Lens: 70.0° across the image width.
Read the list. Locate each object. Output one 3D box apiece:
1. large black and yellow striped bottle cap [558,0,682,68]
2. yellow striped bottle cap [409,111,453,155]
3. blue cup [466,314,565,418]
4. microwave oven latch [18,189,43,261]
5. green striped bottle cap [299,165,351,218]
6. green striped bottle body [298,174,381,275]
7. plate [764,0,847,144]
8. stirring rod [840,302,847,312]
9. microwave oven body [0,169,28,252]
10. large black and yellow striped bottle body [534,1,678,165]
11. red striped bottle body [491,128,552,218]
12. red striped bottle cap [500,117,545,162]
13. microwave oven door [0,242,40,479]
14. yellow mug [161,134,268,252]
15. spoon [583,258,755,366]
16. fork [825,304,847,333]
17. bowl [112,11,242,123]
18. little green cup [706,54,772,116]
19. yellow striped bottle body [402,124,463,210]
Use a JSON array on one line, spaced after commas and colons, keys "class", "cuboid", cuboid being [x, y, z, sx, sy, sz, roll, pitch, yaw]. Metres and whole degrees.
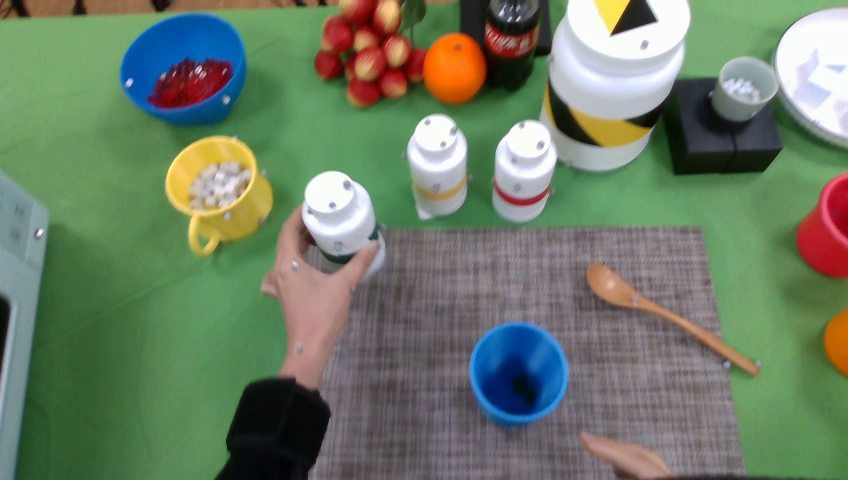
[{"class": "large black and yellow striped bottle cap", "cuboid": [0.187, -0.215, 0.580, 0.115, 0.019, 0.114, -2, 64, 4]}, {"class": "yellow striped bottle cap", "cuboid": [0.007, -0.109, 0.614, 0.044, 0.019, 0.044, -1, 67, 3]}, {"class": "blue cup", "cuboid": [0.080, 0.126, 0.566, 0.092, 0.101, 0.092, -1, 65, 2]}, {"class": "microwave oven latch", "cuboid": [-0.451, -0.016, 0.680, 0.030, 0.030, 0.078, -8, 66, 0]}, {"class": "green striped bottle cap", "cuboid": [-0.086, -0.043, 0.526, 0.044, 0.020, 0.044, -1, 64, 3]}, {"class": "green striped bottle body", "cuboid": [-0.079, -0.018, 0.572, 0.063, 0.120, 0.062, -2, 62, 4]}, {"class": "plate", "cuboid": [0.512, -0.197, 0.726, 0.209, 0.038, 0.207, -1, 66, 3]}, {"class": "stirring rod", "cuboid": [0.430, 0.098, 0.543, 0.014, 0.006, 0.175, 1, 22, 2]}, {"class": "microwave oven body", "cuboid": [-0.576, 0.126, 0.518, 0.326, 0.262, 0.438, -9, 66, -1]}, {"class": "large black and yellow striped bottle body", "cuboid": [0.193, -0.181, 0.657, 0.131, 0.185, 0.129, -1, 65, 3]}, {"class": "red striped bottle body", "cuboid": [0.104, -0.078, 0.651, 0.063, 0.121, 0.062, -3, 63, 7]}, {"class": "red striped bottle cap", "cuboid": [0.099, -0.101, 0.604, 0.044, 0.018, 0.044, 0, 64, 0]}, {"class": "microwave oven door", "cuboid": [-0.426, 0.138, 0.498, 0.039, 0.246, 0.352, -10, 65, 0]}, {"class": "yellow mug", "cuboid": [-0.241, -0.048, 0.688, 0.100, 0.064, 0.130, 9, 67, 6]}, {"class": "spoon", "cuboid": [0.249, 0.074, 0.623, 0.193, 0.022, 0.041, 29, 46, 15]}, {"class": "fork", "cuboid": [0.460, 0.099, 0.533, 0.028, 0.019, 0.205, -38, 25, -12]}, {"class": "bowl", "cuboid": [-0.293, -0.200, 0.753, 0.151, 0.077, 0.150, -1, 66, 2]}, {"class": "little green cup", "cuboid": [0.343, -0.169, 0.668, 0.061, 0.039, 0.061, -1, 64, 2]}, {"class": "yellow striped bottle body", "cuboid": [0.011, -0.087, 0.660, 0.063, 0.121, 0.062, -2, 65, 4]}]
